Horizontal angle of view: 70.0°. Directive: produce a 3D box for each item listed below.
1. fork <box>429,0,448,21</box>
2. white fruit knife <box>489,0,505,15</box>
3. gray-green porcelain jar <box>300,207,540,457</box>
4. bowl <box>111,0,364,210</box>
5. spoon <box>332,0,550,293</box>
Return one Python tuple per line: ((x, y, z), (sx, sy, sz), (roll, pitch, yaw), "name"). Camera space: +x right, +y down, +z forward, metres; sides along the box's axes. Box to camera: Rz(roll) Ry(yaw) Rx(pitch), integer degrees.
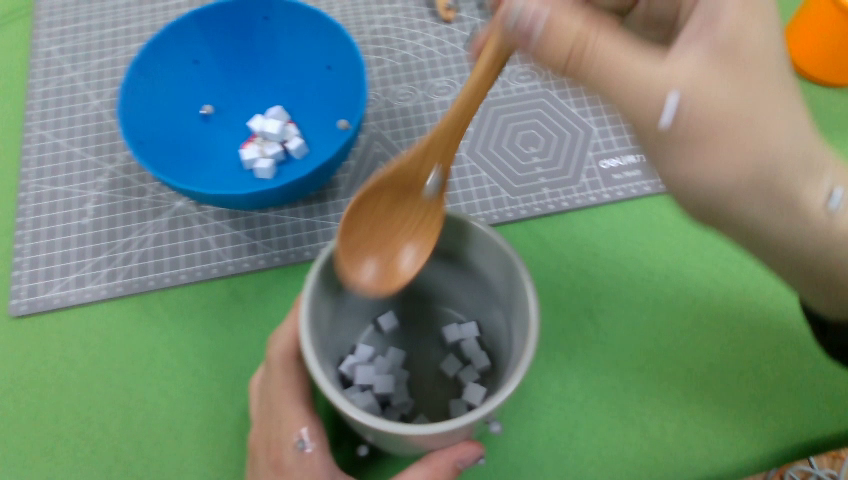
((-0.011, -0.276, 0.488), (0.028, 0.018, 0.207), (-14, 85, -12), "fork")
((0.038, -0.284, 0.494), (0.016, 0.027, 0.206), (-12, 80, -7), "white fruit knife")
((-0.002, 0.056, 0.318), (0.106, 0.127, 0.105), (0, 66, 0), "gray-green porcelain jar")
((-0.111, -0.077, 0.399), (0.151, 0.077, 0.150), (0, 66, 0), "bowl")
((0.017, -0.052, 0.210), (0.042, 0.194, 0.021), (22, 36, -16), "spoon")
